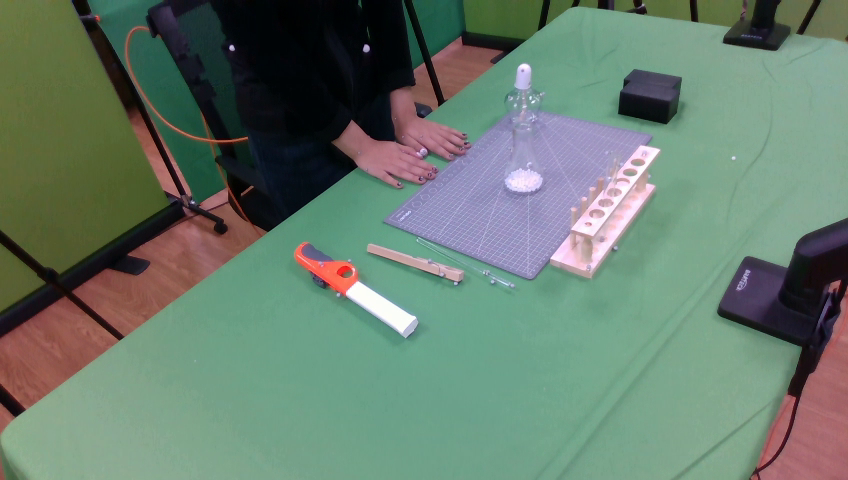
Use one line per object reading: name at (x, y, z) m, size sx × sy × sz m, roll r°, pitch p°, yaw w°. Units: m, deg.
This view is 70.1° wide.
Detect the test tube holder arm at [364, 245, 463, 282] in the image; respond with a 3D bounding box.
test tube holder arm at (-0.020, 0.035, 0.947) m, size 0.177 × 0.015 × 0.013 m, roll 16°, pitch 10°, yaw 26°

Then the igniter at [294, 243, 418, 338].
igniter at (-0.114, 0.070, 0.919) m, size 0.274 × 0.025 × 0.057 m, roll 29°, pitch 63°, yaw 37°

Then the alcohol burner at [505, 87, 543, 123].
alcohol burner at (0.202, -0.297, 1.222) m, size 0.078 × 0.119 × 0.077 m, roll -4°, pitch 40°, yaw 4°

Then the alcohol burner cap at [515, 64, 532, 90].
alcohol burner cap at (0.199, -0.324, 1.198) m, size 0.034 × 0.048 × 0.033 m, roll 0°, pitch 46°, yaw 1°

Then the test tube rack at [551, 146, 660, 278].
test tube rack at (0.286, -0.053, 0.944) m, size 0.066 × 0.085 × 0.243 m, roll 21°, pitch 49°, yaw 32°

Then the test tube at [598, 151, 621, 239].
test tube at (0.269, -0.062, 0.880) m, size 0.017 × 0.151 × 0.017 m, roll -3°, pitch 39°, yaw 3°

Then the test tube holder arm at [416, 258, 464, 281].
test tube holder arm at (0.022, 0.045, 0.931) m, size 0.087 × 0.015 × 0.010 m, roll 16°, pitch 10°, yaw 28°

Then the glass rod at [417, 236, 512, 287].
glass rod at (0.059, 0.032, 0.945) m, size 0.198 × 0.008 × 0.008 m, roll 27°, pitch 52°, yaw 38°

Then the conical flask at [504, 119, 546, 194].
conical flask at (0.173, -0.146, 1.041) m, size 0.075 × 0.122 × 0.075 m, roll -6°, pitch 40°, yaw 5°
